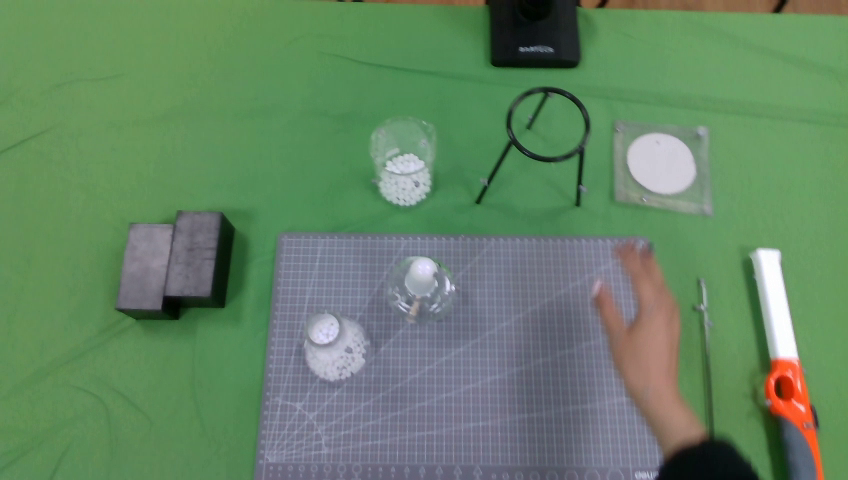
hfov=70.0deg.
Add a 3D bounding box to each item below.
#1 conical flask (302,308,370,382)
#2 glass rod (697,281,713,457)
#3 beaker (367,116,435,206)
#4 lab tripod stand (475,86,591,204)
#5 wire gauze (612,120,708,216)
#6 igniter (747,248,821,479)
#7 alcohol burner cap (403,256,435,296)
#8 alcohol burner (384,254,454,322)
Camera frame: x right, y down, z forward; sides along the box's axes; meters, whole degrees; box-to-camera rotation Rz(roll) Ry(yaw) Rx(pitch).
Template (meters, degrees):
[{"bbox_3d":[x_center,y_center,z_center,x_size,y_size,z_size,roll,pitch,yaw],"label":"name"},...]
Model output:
[{"bbox_3d":[-0.097,0.103,0.629,0.075,0.122,0.075,0,71,-1],"label":"conical flask"},{"bbox_3d":[0.318,0.142,0.688,0.008,0.008,0.198,5,71,1],"label":"glass rod"},{"bbox_3d":[-0.023,-0.090,0.713,0.084,0.101,0.073,-39,76,-14],"label":"beaker"},{"bbox_3d":[0.129,-0.101,0.702,0.148,0.132,0.147,0,73,0],"label":"lab tripod stand"},{"bbox_3d":[0.300,-0.095,0.770,0.125,0.011,0.121,8,72,0],"label":"wire gauze"},{"bbox_3d":[0.402,0.142,0.679,0.057,0.025,0.274,5,71,-11],"label":"igniter"},{"bbox_3d":[-0.003,0.034,0.622,0.034,0.048,0.033,4,64,-8],"label":"alcohol burner cap"},{"bbox_3d":[-0.005,0.048,0.655,0.078,0.120,0.077,1,70,-2],"label":"alcohol burner"}]
